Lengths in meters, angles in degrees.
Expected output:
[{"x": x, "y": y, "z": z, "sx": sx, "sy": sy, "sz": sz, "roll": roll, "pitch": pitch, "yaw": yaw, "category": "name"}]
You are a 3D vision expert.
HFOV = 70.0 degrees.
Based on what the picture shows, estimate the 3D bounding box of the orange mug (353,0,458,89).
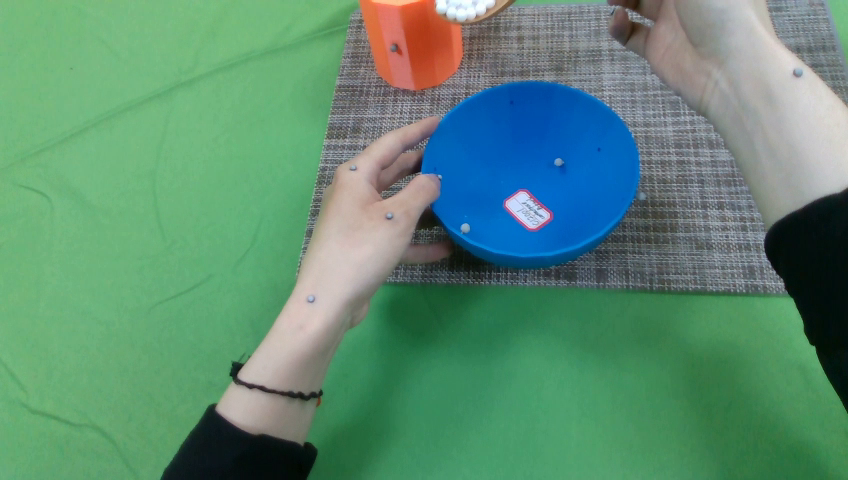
[{"x": -0.011, "y": -0.216, "z": 0.548, "sx": 0.083, "sy": 0.101, "sz": 0.125, "roll": 12, "pitch": 69, "yaw": 14, "category": "orange mug"}]

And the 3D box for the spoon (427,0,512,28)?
[{"x": 0.094, "y": -0.182, "z": 0.400, "sx": 0.193, "sy": 0.022, "sz": 0.041, "roll": -12, "pitch": 72, "yaw": 22, "category": "spoon"}]

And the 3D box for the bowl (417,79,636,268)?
[{"x": 0.074, "y": -0.037, "z": 0.453, "sx": 0.151, "sy": 0.077, "sz": 0.150, "roll": -3, "pitch": 61, "yaw": 6, "category": "bowl"}]
